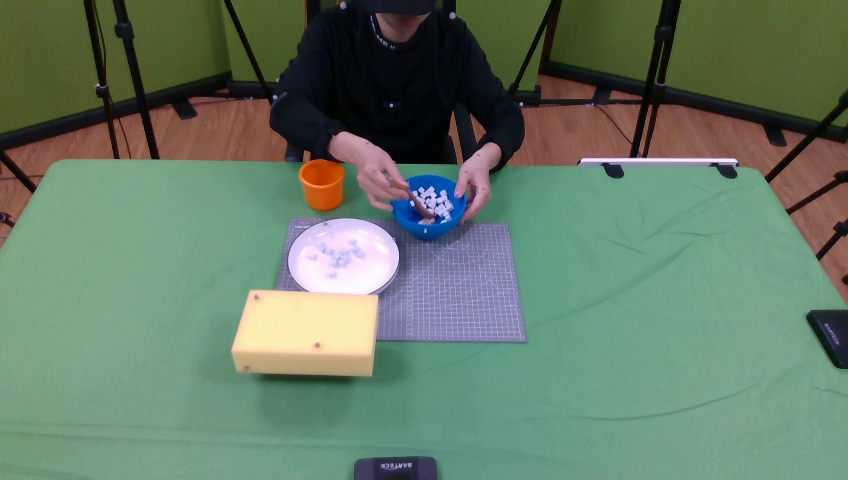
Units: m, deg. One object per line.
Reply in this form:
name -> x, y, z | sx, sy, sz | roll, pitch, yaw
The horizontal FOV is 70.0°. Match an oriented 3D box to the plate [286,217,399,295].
plate -> -0.150, 0.041, 1.131 | 0.209, 0.038, 0.208 | 2, 46, -2

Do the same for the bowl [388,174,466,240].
bowl -> 0.005, -0.053, 1.200 | 0.151, 0.077, 0.150 | 0, 45, 0

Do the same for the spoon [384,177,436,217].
spoon -> -0.027, -0.081, 1.145 | 0.041, 0.195, 0.021 | 25, 82, 32

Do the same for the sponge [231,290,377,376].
sponge -> -0.180, 0.144, 0.949 | 0.207, 0.061, 0.117 | 2, 46, -2
